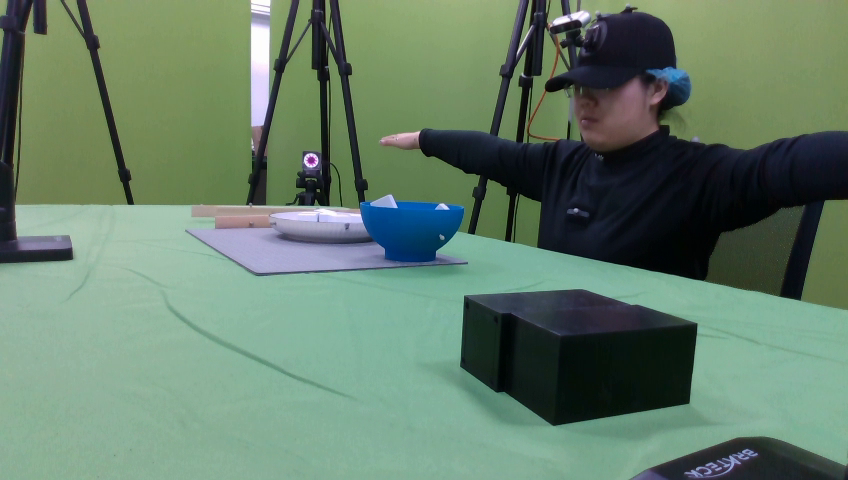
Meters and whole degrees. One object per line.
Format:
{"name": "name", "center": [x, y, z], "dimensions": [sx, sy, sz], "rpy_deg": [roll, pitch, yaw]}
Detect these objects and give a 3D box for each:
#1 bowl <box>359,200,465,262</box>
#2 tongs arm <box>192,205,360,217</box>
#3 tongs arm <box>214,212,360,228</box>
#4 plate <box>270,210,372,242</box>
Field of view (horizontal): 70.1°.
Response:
{"name": "bowl", "center": [-0.018, -0.013, 0.859], "dimensions": [0.151, 0.077, 0.151], "rpy_deg": [2, 7, 0]}
{"name": "tongs arm", "center": [-0.290, -0.057, 1.299], "dimensions": [0.387, 0.026, 0.050], "rpy_deg": [-1, 8, -32]}
{"name": "tongs arm", "center": [-0.243, -0.044, 1.236], "dimensions": [0.390, 0.028, 0.028], "rpy_deg": [-4, 7, -44]}
{"name": "plate", "center": [-0.161, -0.024, 1.055], "dimensions": [0.208, 0.039, 0.207], "rpy_deg": [2, 7, 0]}
